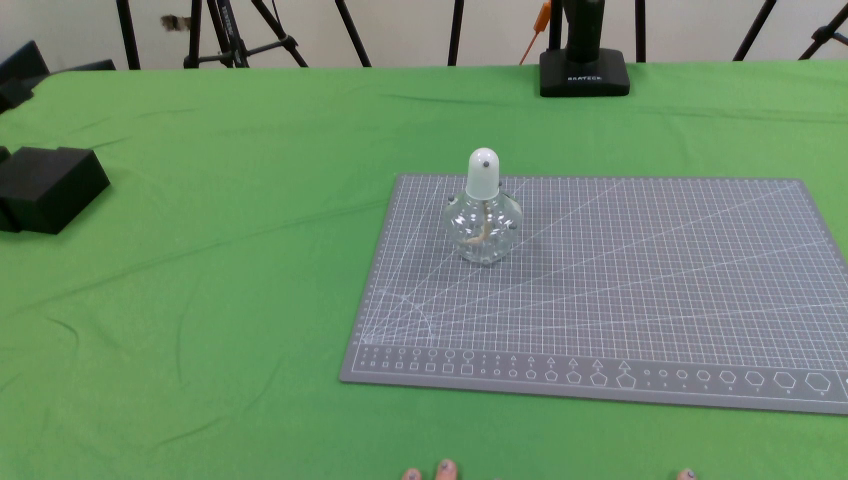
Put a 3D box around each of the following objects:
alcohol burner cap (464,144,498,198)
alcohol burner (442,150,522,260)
[{"bbox_3d":[0.054,-0.065,0.556,0.034,0.048,0.033,1,44,-1],"label":"alcohol burner cap"},{"bbox_3d":[0.056,-0.039,0.581,0.078,0.120,0.077,-2,43,2],"label":"alcohol burner"}]
